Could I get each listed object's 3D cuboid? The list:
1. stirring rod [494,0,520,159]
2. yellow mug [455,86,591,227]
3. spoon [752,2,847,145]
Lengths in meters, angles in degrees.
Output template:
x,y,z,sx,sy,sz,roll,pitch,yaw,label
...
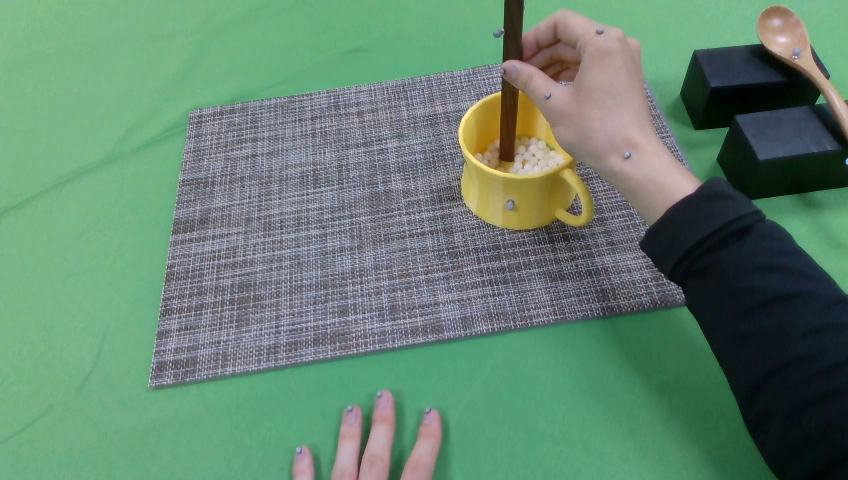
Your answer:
x,y,z,sx,sy,sz,roll,pitch,yaw,label
0.062,-0.126,0.464,0.014,0.178,0.006,14,56,15,stirring rod
0.086,-0.060,0.492,0.100,0.064,0.129,-35,59,-18,yellow mug
0.315,-0.123,0.485,0.041,0.022,0.191,-9,57,-1,spoon
